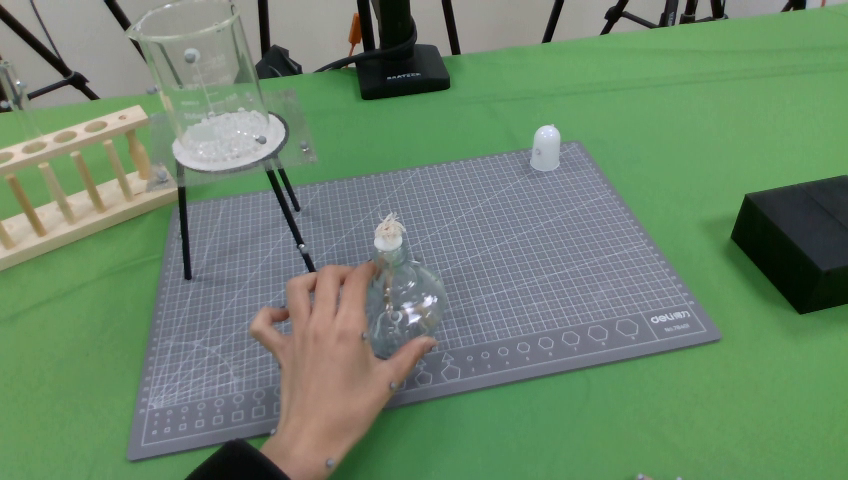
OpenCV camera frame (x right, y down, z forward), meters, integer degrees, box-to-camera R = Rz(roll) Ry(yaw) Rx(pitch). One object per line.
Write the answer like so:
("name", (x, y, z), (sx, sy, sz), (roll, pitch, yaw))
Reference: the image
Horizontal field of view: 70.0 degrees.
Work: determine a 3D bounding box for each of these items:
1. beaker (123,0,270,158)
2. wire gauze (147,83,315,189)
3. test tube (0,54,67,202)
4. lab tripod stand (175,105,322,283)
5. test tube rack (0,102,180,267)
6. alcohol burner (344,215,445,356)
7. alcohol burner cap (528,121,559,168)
("beaker", (-0.161, -0.118, 0.445), (0.084, 0.101, 0.073), (-9, 42, -3))
("wire gauze", (-0.156, -0.084, 0.481), (0.125, 0.011, 0.120), (-16, 41, -8))
("test tube", (-0.375, -0.102, 0.581), (0.017, 0.151, 0.017), (0, 36, 1))
("lab tripod stand", (-0.152, -0.036, 0.525), (0.148, 0.133, 0.147), (-2, 44, 3))
("test tube rack", (-0.378, -0.047, 0.596), (0.242, 0.086, 0.066), (-27, 47, -23))
("alcohol burner", (-0.023, 0.031, 0.456), (0.078, 0.120, 0.077), (-2, 40, 2))
("alcohol burner cap", (0.128, -0.104, 0.647), (0.034, 0.048, 0.033), (-2, 42, 2))
